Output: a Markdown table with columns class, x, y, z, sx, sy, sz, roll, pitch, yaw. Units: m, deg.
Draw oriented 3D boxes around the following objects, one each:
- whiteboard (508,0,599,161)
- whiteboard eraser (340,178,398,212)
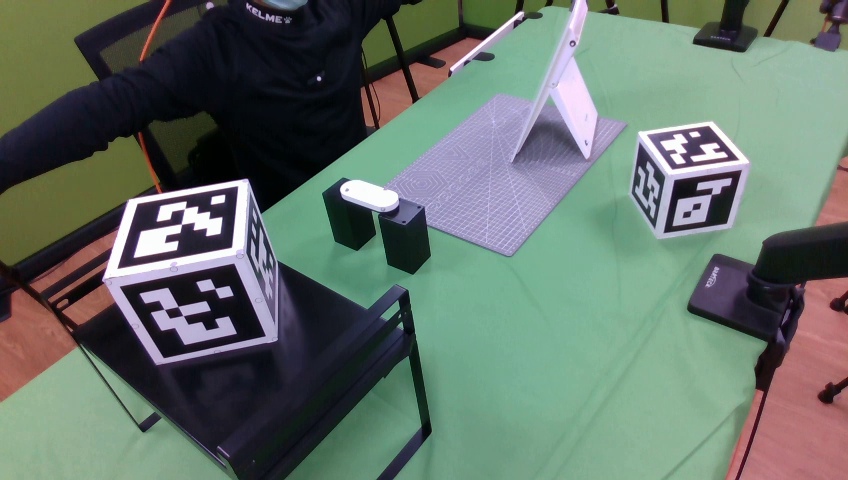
| class | x | y | z | sx | sy | sz | roll | pitch | yaw |
| --- | --- | --- | --- | --- | --- | --- | --- | --- | --- |
| whiteboard | 0.285 | -0.289 | 1.088 | 0.144 | 0.305 | 0.217 | 22 | 45 | 3 |
| whiteboard eraser | -0.083 | -0.068 | 0.906 | 0.100 | 0.019 | 0.041 | 20 | 49 | 29 |
